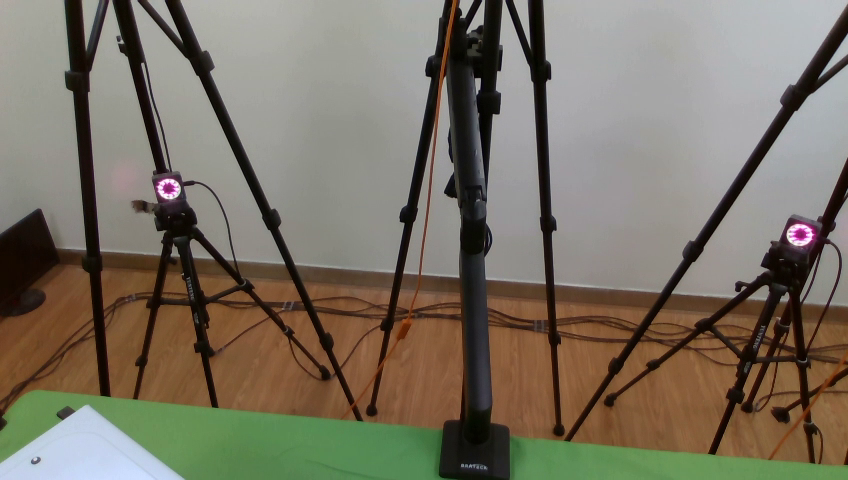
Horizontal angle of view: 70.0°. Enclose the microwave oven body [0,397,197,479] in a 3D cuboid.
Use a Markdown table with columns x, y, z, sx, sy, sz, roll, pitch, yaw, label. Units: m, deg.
| x | y | z | sx | sy | sz | roll | pitch | yaw | label |
| --- | --- | --- | --- | --- | --- | --- | --- | --- | --- |
| -0.466 | 0.457 | 0.685 | 0.323 | 0.262 | 0.441 | 22 | 40 | 26 | microwave oven body |
